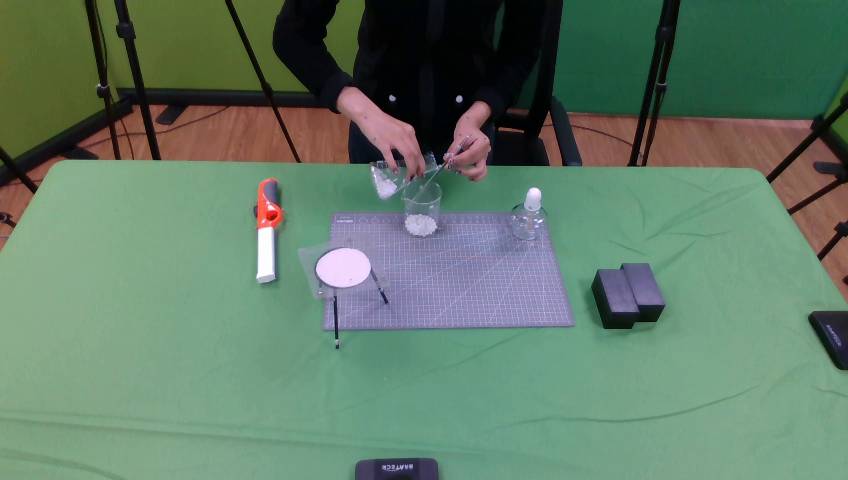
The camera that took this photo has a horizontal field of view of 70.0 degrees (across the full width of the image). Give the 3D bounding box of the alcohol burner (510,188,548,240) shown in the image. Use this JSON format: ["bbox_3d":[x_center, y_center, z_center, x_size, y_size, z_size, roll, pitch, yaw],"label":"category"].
[{"bbox_3d":[0.211,-0.057,1.204,0.078,0.120,0.077,1,47,-1],"label":"alcohol burner"}]

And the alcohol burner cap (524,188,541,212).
[{"bbox_3d":[0.212,-0.081,1.177,0.034,0.048,0.033,-2,54,2],"label":"alcohol burner cap"}]

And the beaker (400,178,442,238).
[{"bbox_3d":[-0.009,-0.059,1.200,0.084,0.101,0.073,-14,48,-17],"label":"beaker"}]

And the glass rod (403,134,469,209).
[{"bbox_3d":[0.020,-0.126,1.139,0.008,0.200,0.008,31,32,-22],"label":"glass rod"}]

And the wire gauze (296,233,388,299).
[{"bbox_3d":[-0.133,0.041,0.977,0.125,0.011,0.120,-12,47,-16],"label":"wire gauze"}]

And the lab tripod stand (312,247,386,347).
[{"bbox_3d":[-0.134,0.085,1.028,0.148,0.132,0.147,2,45,-1],"label":"lab tripod stand"}]

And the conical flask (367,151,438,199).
[{"bbox_3d":[-0.037,-0.127,1.113,0.122,0.076,0.075,-19,48,2],"label":"conical flask"}]

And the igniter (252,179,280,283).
[{"bbox_3d":[-0.312,-0.027,1.197,0.057,0.025,0.274,-12,47,-2],"label":"igniter"}]
